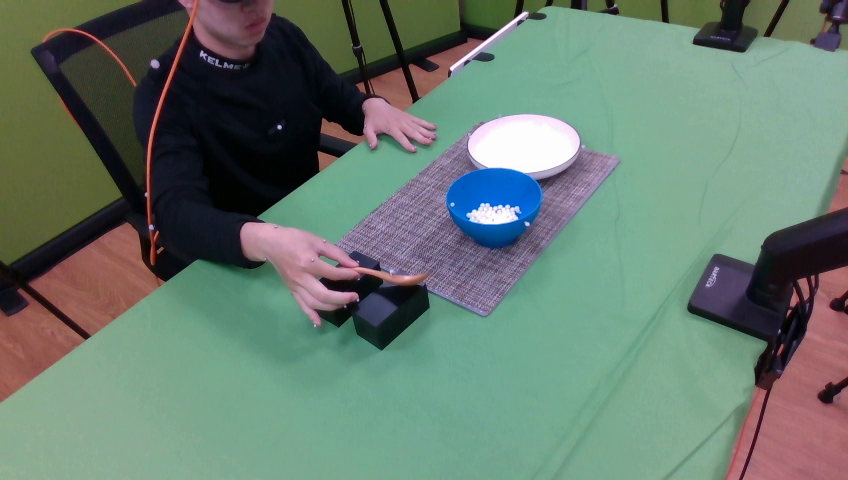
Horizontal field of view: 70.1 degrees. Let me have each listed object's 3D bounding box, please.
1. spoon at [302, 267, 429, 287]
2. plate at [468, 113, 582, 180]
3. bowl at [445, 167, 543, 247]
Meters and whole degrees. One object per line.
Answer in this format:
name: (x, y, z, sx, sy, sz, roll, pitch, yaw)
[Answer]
spoon: (-0.085, 0.047, 0.844, 0.193, 0.021, 0.042, 6, 11, 21)
plate: (0.186, -0.169, 1.122, 0.207, 0.039, 0.206, -4, 40, 4)
bowl: (0.111, -0.042, 0.952, 0.151, 0.077, 0.150, -4, 41, 4)
